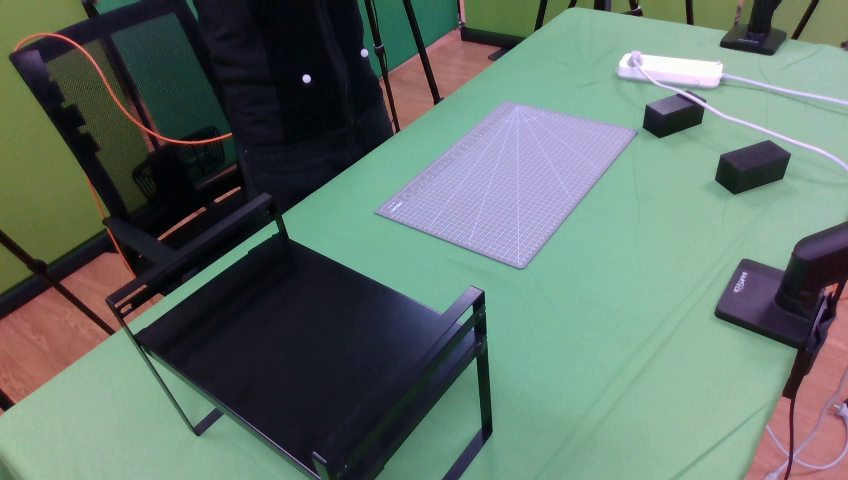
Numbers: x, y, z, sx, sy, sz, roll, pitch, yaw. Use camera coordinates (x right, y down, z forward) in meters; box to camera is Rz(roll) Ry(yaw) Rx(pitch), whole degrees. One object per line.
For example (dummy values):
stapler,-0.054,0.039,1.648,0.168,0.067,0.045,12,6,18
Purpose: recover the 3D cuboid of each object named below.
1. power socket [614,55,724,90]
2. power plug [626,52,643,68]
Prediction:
power socket,0.531,-0.367,1.316,0.225,0.033,0.072,15,46,23
power plug,0.450,-0.379,1.314,0.035,0.053,0.073,23,52,31
